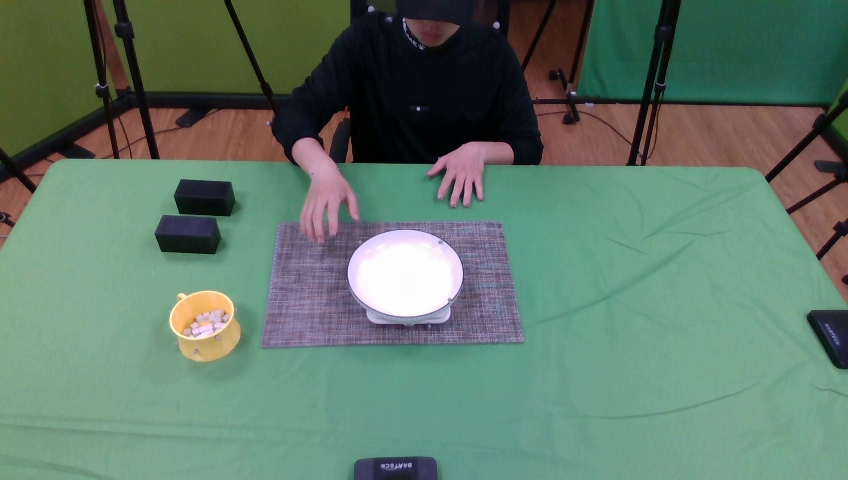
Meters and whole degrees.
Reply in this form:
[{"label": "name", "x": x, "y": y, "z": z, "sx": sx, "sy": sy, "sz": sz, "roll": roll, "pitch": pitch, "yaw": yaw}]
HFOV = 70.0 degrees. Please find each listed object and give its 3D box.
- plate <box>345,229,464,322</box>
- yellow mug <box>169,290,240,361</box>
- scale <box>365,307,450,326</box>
[{"label": "plate", "x": -0.034, "y": 0.065, "z": 1.073, "sx": 0.209, "sy": 0.038, "sz": 0.208, "roll": 2, "pitch": 46, "yaw": -2}, {"label": "yellow mug", "x": -0.373, "y": 0.132, "z": 1.009, "sx": 0.130, "sy": 0.064, "sz": 0.100, "roll": 35, "pitch": 53, "yaw": 27}, {"label": "scale", "x": -0.032, "y": 0.071, "z": 1.113, "sx": 0.149, "sy": 0.032, "sz": 0.199, "roll": 0, "pitch": 46, "yaw": -4}]
